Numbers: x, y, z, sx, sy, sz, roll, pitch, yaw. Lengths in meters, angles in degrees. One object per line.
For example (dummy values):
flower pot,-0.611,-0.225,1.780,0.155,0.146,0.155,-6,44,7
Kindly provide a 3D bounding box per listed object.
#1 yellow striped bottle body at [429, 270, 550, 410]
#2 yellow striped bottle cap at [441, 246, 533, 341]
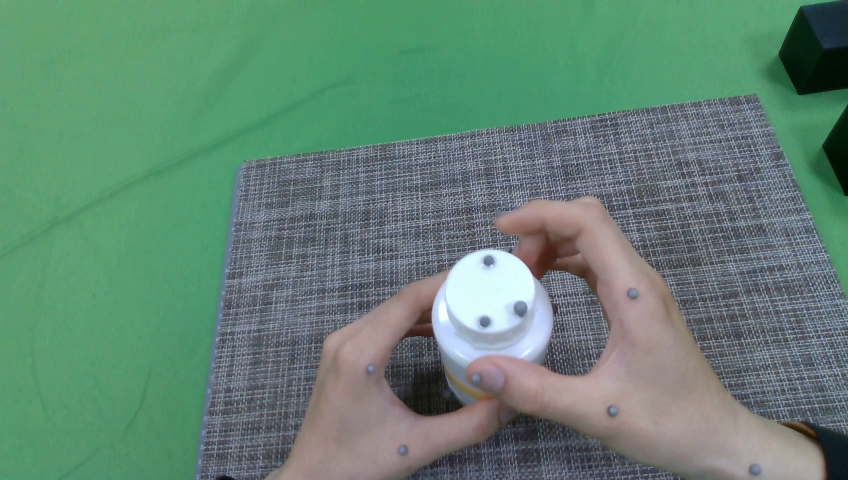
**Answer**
yellow striped bottle body,0.036,0.052,0.339,0.063,0.121,0.062,-2,62,5
yellow striped bottle cap,0.030,0.025,0.290,0.044,0.019,0.044,-2,62,3
